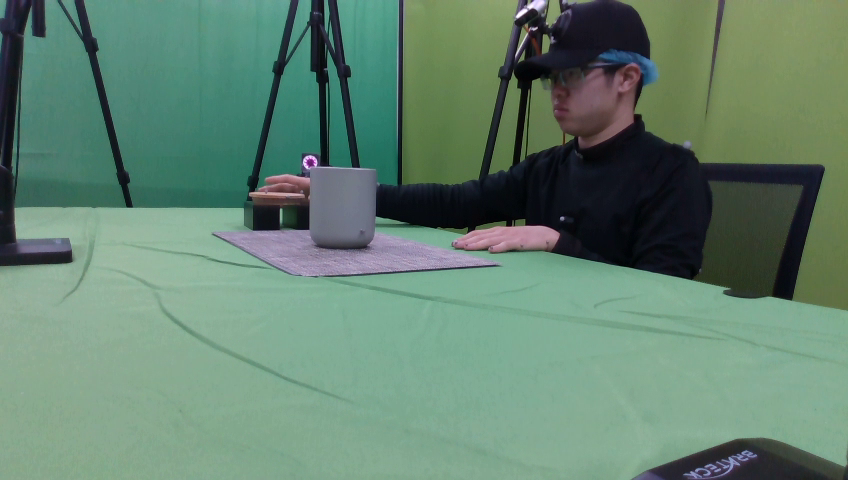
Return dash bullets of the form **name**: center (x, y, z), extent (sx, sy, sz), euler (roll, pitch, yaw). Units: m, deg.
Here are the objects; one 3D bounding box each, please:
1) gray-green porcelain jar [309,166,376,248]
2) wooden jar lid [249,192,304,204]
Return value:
- **gray-green porcelain jar**: center (-0.130, -0.054, 0.966), extent (0.106, 0.126, 0.106), euler (2, 7, 0)
- **wooden jar lid**: center (-0.297, -0.086, 1.220), extent (0.108, 0.020, 0.108), euler (4, 7, 0)
